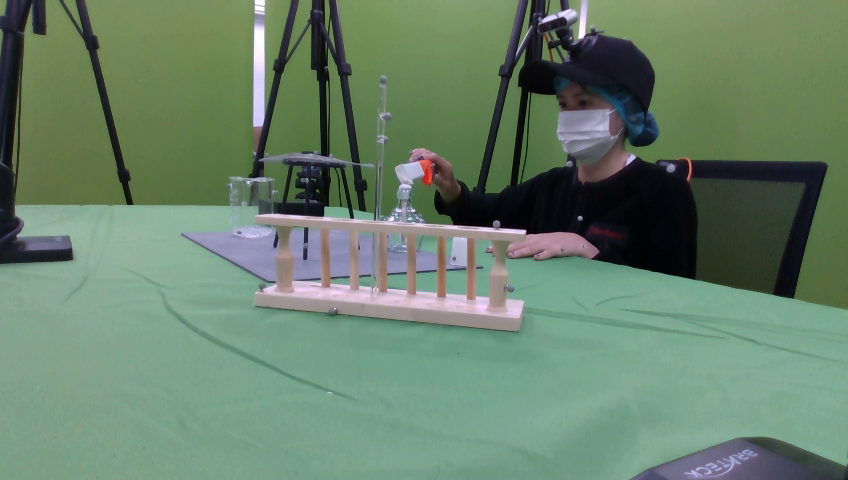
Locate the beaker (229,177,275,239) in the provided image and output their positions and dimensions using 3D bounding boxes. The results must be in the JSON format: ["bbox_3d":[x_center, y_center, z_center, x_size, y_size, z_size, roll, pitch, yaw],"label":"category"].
[{"bbox_3d":[-0.292,-0.056,1.023,0.074,0.100,0.083,-1,8,-26],"label":"beaker"}]

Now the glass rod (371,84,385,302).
[{"bbox_3d":[-0.041,-0.041,0.548,0.008,0.199,0.008,2,2,0],"label":"glass rod"}]

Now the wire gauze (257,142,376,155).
[{"bbox_3d":[-0.155,-0.130,0.871,0.124,0.011,0.122,-1,7,36],"label":"wire gauze"}]

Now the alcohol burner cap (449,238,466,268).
[{"bbox_3d":[0.051,0.015,0.828,0.034,0.048,0.034,2,6,0],"label":"alcohol burner cap"}]

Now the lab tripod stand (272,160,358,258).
[{"bbox_3d":[-0.159,-0.048,0.876,0.148,0.131,0.148,3,5,0],"label":"lab tripod stand"}]

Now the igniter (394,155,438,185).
[{"bbox_3d":[-0.009,-0.124,1.082,0.025,0.057,0.277,-22,4,13],"label":"igniter"}]

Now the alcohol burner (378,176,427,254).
[{"bbox_3d":[-0.033,-0.039,0.936,0.078,0.119,0.078,1,6,0],"label":"alcohol burner"}]

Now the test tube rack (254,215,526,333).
[{"bbox_3d":[-0.030,0.025,0.558,0.242,0.085,0.067,4,7,12],"label":"test tube rack"}]
